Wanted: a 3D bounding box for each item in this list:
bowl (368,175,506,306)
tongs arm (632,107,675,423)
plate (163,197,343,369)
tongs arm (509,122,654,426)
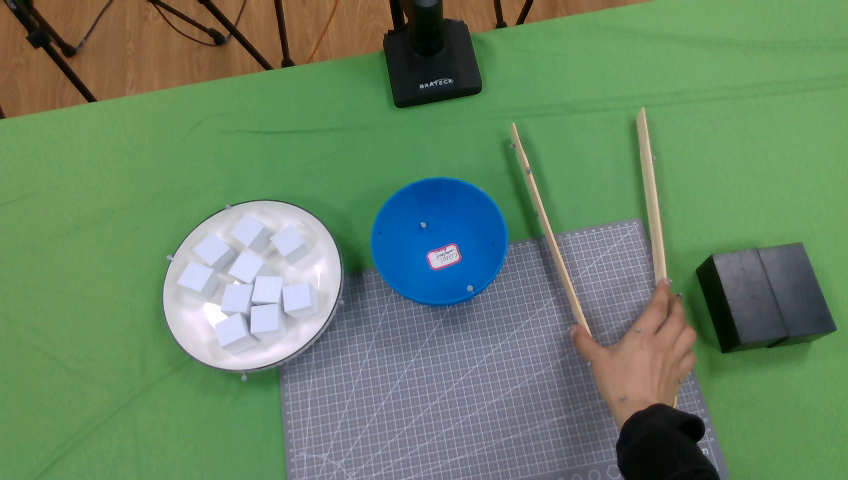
[{"bbox_3d":[0.016,0.011,0.687,0.151,0.077,0.150,-1,68,3],"label":"bowl"},{"bbox_3d":[0.259,0.013,0.700,0.028,0.028,0.384,4,68,-2],"label":"tongs arm"},{"bbox_3d":[-0.195,0.049,0.707,0.207,0.039,0.206,-2,68,4],"label":"plate"},{"bbox_3d":[0.172,0.023,0.698,0.051,0.027,0.381,-11,68,-5],"label":"tongs arm"}]
